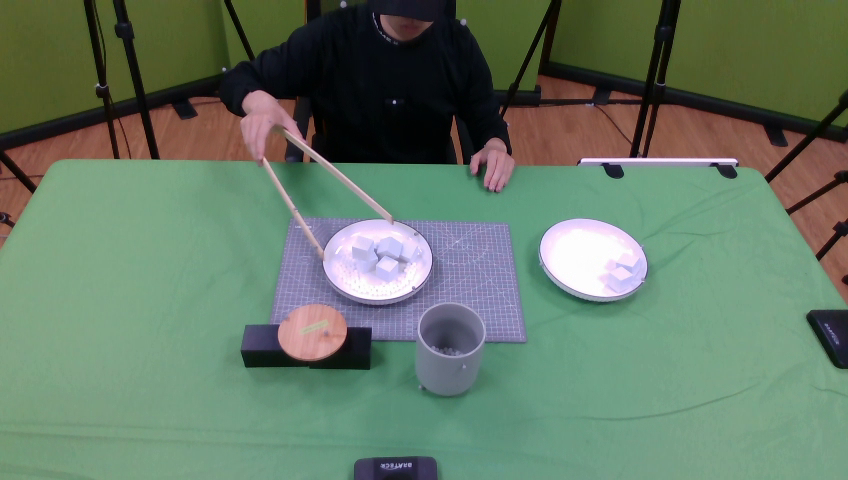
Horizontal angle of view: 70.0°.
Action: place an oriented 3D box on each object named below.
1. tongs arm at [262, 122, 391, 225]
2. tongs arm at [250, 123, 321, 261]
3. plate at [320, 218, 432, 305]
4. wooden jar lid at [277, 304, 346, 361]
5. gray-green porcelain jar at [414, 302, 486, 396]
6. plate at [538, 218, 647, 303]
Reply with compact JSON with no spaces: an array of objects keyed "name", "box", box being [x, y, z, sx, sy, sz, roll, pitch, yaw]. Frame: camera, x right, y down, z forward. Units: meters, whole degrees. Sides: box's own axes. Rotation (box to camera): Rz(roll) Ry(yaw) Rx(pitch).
[{"name":"tongs arm","box":[-0.193,-0.136,1.165,0.028,0.028,0.385,-39,58,-21]},{"name":"tongs arm","box":[-0.256,-0.101,1.138,0.051,0.027,0.382,-27,53,-17]},{"name":"plate","box":[-0.089,0.044,1.134,0.209,0.038,0.208,3,46,-2]},{"name":"wooden jar lid","box":[-0.179,0.150,0.972,0.108,0.021,0.107,2,45,-2]},{"name":"gray-green porcelain jar","box":[0.038,0.177,0.958,0.106,0.127,0.105,2,46,-2]},{"name":"plate","box":[0.322,0.042,1.171,0.208,0.039,0.206,2,46,-2]}]
